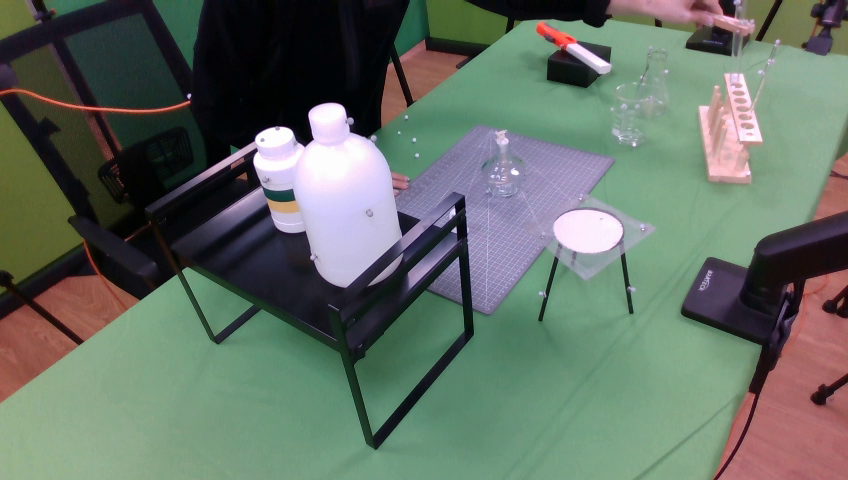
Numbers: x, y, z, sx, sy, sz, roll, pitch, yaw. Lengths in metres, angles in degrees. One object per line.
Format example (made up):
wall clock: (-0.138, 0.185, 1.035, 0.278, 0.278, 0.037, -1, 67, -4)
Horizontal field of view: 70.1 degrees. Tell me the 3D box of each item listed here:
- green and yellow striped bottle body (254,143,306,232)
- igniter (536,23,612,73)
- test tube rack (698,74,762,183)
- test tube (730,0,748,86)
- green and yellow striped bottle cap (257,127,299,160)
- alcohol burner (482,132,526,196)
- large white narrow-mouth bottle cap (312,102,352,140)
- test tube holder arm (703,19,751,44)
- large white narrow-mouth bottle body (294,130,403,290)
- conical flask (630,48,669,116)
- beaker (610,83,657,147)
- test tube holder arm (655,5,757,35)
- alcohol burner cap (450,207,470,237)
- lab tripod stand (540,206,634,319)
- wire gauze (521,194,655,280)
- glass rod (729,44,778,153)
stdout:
green and yellow striped bottle body: (-0.165, -0.073, 0.732, 0.063, 0.120, 0.063, -4, 41, 4)
igniter: (0.330, -0.439, 1.366, 0.057, 0.025, 0.274, -12, 40, -20)
test tube rack: (0.547, -0.208, 1.094, 0.066, 0.085, 0.242, 5, 42, 15)
test tube: (0.538, -0.336, 1.035, 0.017, 0.151, 0.017, -9, 35, 7)
green and yellow striped bottle cap: (-0.169, -0.112, 0.699, 0.045, 0.020, 0.045, -5, 40, 5)
alcohol burner: (0.137, -0.136, 1.042, 0.078, 0.119, 0.077, -4, 43, 4)
large white narrow-mouth bottle cap: (-0.088, -0.114, 0.580, 0.038, 0.024, 0.037, -3, 39, 3)
test tube holder arm: (0.518, -0.360, 1.036, 0.010, 0.015, 0.087, -46, 58, -2)
large white narrow-mouth bottle body: (-0.082, -0.047, 0.634, 0.102, 0.195, 0.101, -4, 39, 3)
conical flask: (0.457, -0.317, 1.205, 0.075, 0.122, 0.075, -4, 41, 4)
beaker: (0.388, -0.235, 1.138, 0.074, 0.101, 0.083, -31, 45, -26)
test tube holder arm: (0.490, -0.386, 1.059, 0.177, 0.015, 0.013, 29, 80, 31)
alcohol burner cap: (0.057, -0.032, 0.987, 0.034, 0.048, 0.033, -5, 41, 5)
lab tripod stand: (0.218, 0.034, 0.821, 0.148, 0.132, 0.147, -4, 43, 4)
wire gauze: (0.207, -0.012, 0.772, 0.122, 0.011, 0.124, -28, 44, -20)
glass rod: (0.554, -0.233, 1.020, 0.008, 0.200, 0.008, 2, 39, -1)
